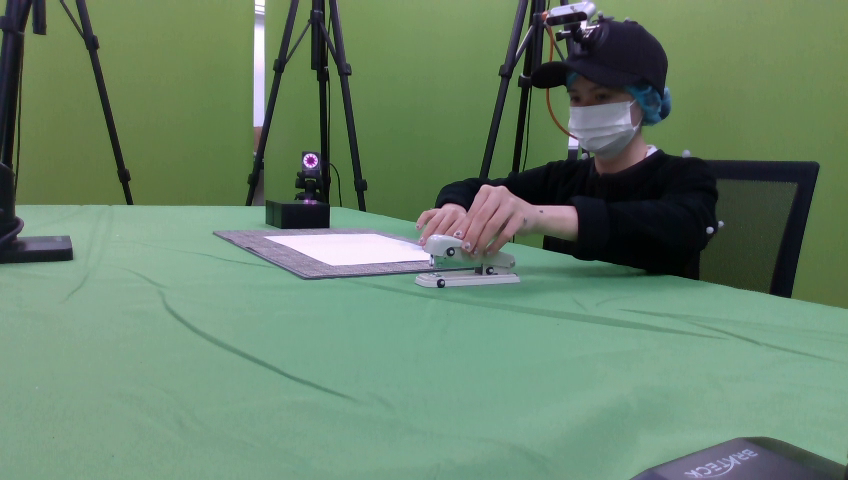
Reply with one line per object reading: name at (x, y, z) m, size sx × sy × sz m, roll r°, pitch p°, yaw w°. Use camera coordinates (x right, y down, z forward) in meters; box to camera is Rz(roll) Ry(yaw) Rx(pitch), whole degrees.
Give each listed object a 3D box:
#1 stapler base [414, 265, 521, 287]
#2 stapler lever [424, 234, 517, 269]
stapler base at (0.053, 0.039, 0.716) m, size 0.131 × 0.024 × 0.041 m, roll 1°, pitch 9°, yaw -27°
stapler lever at (0.056, 0.015, 0.714) m, size 0.119 × 0.040 × 0.026 m, roll 1°, pitch 9°, yaw -27°
